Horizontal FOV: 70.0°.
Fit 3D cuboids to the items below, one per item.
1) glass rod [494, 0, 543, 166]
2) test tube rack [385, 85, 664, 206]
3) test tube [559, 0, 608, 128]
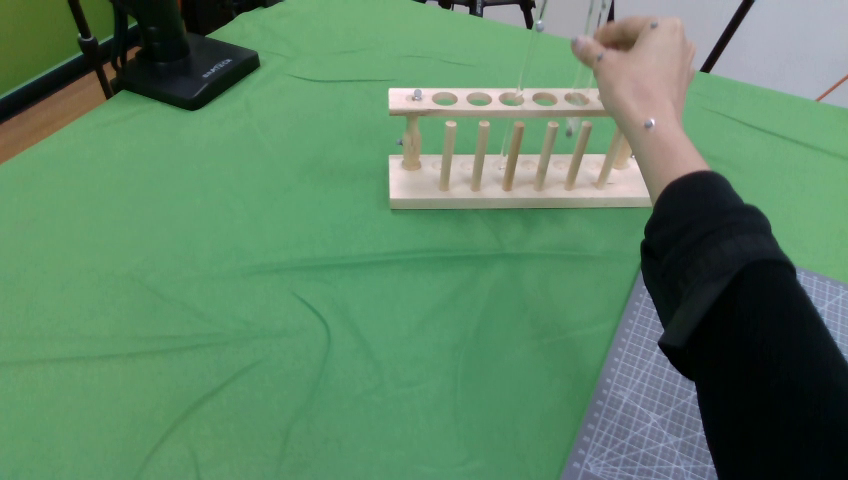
[{"bbox_3d":[0.078,-0.136,0.502,0.008,0.201,0.008,4,49,-4],"label":"glass rod"},{"bbox_3d":[0.087,-0.085,0.546,0.243,0.086,0.066,-1,45,-4],"label":"test tube rack"},{"bbox_3d":[0.133,-0.156,0.503,0.017,0.151,0.017,1,47,-1],"label":"test tube"}]
